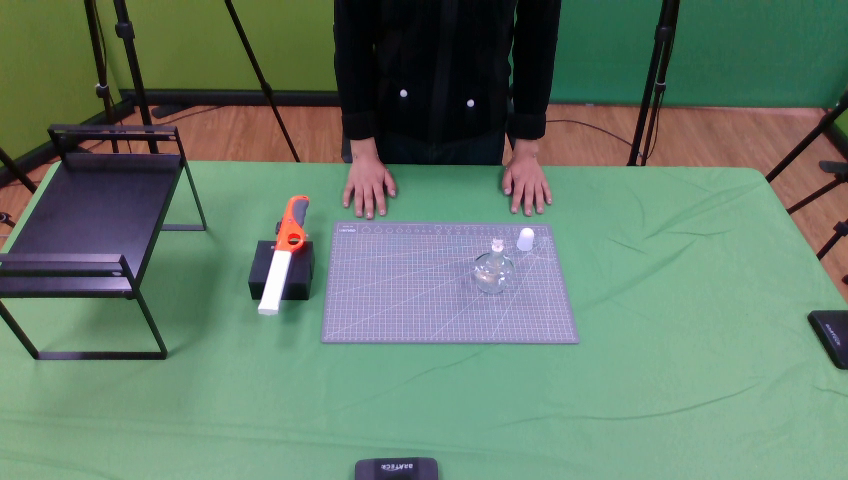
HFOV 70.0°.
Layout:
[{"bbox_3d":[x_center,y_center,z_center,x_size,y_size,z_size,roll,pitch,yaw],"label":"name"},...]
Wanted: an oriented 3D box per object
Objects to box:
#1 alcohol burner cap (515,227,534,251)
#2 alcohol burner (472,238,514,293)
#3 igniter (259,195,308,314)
[{"bbox_3d":[0.202,-0.005,1.201,0.034,0.048,0.033,3,46,-3],"label":"alcohol burner cap"},{"bbox_3d":[0.128,0.041,1.102,0.078,0.120,0.077,1,47,-1],"label":"alcohol burner"},{"bbox_3d":[-0.252,0.016,1.094,0.057,0.025,0.275,6,48,-3],"label":"igniter"}]
